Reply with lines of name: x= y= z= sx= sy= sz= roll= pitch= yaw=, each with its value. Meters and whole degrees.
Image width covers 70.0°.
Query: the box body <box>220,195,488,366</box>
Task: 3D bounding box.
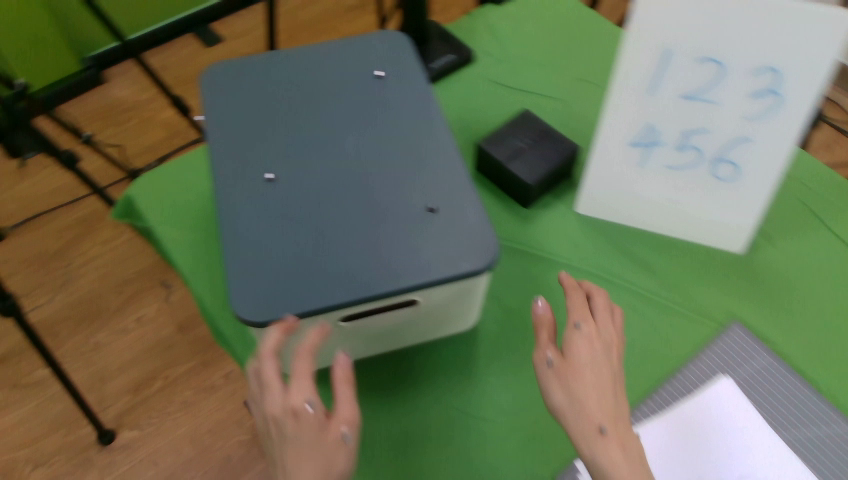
box body: x=-0.096 y=-0.057 z=0.715 sx=0.254 sy=0.162 sz=0.360 roll=-14 pitch=58 yaw=-9

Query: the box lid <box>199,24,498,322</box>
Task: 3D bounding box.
box lid: x=-0.096 y=-0.100 z=0.655 sx=0.264 sy=0.015 sz=0.367 roll=-13 pitch=59 yaw=-10

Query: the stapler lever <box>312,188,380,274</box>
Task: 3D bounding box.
stapler lever: x=-0.094 y=-0.014 z=0.731 sx=0.026 sy=0.040 sz=0.117 roll=19 pitch=59 yaw=31

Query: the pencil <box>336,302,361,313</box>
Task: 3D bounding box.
pencil: x=-0.047 y=0.059 z=0.721 sx=0.194 sy=0.012 sz=0.012 roll=-22 pitch=58 yaw=-29

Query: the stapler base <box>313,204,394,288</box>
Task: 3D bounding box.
stapler base: x=-0.088 y=0.000 z=0.750 sx=0.041 sy=0.025 sz=0.130 roll=19 pitch=60 yaw=31

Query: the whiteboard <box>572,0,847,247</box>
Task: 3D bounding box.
whiteboard: x=0.337 y=-0.175 z=0.752 sx=0.216 sy=0.308 sz=0.143 roll=16 pitch=38 yaw=10
